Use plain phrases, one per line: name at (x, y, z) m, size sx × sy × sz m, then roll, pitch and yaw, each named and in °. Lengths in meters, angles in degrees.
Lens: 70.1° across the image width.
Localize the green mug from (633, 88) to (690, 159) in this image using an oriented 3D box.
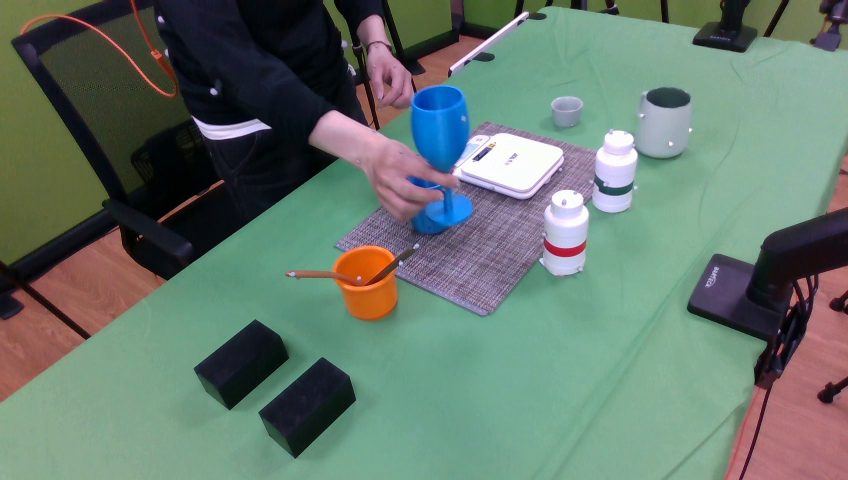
green mug at (0.423, -0.217, 1.099) m, size 0.093 × 0.105 × 0.124 m, roll -16°, pitch 41°, yaw -9°

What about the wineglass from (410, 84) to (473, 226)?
wineglass at (0.025, -0.103, 0.761) m, size 0.074 × 0.173 × 0.073 m, roll -5°, pitch 42°, yaw 5°

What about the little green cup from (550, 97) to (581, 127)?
little green cup at (0.284, -0.255, 1.213) m, size 0.061 × 0.039 × 0.061 m, roll -5°, pitch 41°, yaw 5°

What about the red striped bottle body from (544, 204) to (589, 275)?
red striped bottle body at (0.206, -0.011, 0.877) m, size 0.063 × 0.120 × 0.062 m, roll -5°, pitch 41°, yaw 5°

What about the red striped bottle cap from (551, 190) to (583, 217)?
red striped bottle cap at (0.200, -0.052, 0.843) m, size 0.044 × 0.018 × 0.044 m, roll -2°, pitch 42°, yaw 2°

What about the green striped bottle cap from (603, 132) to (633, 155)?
green striped bottle cap at (0.302, -0.149, 0.939) m, size 0.044 × 0.020 × 0.044 m, roll -3°, pitch 39°, yaw 3°

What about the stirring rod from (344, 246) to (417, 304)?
stirring rod at (-0.062, 0.050, 0.819) m, size 0.014 × 0.175 × 0.006 m, roll -2°, pitch 64°, yaw -41°

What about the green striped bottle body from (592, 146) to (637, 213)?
green striped bottle body at (0.307, -0.108, 0.976) m, size 0.063 × 0.120 × 0.063 m, roll -4°, pitch 41°, yaw 4°

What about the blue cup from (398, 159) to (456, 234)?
blue cup at (0.006, -0.065, 0.977) m, size 0.092 × 0.100 × 0.092 m, roll -4°, pitch 39°, yaw 4°

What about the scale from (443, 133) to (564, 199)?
scale at (0.137, -0.142, 1.101) m, size 0.199 × 0.032 × 0.149 m, roll 22°, pitch 48°, yaw 30°

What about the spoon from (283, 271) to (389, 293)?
spoon at (-0.117, 0.054, 0.825) m, size 0.041 × 0.195 × 0.021 m, roll 18°, pitch 90°, yaw 37°
